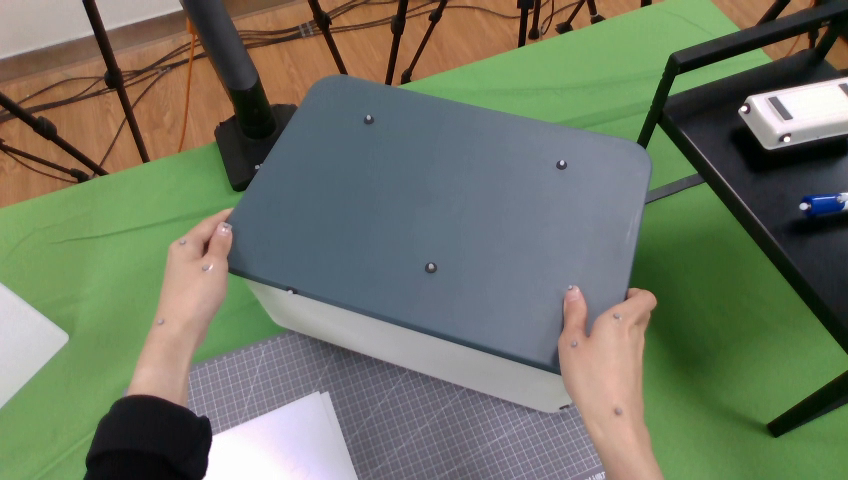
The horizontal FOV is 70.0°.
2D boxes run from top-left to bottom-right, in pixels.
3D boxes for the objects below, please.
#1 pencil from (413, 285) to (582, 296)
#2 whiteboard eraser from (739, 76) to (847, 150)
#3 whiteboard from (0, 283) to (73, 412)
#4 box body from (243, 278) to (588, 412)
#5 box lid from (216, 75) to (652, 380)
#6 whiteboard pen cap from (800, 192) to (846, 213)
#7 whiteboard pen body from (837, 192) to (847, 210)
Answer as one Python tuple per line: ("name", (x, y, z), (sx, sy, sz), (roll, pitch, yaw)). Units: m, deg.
("pencil", (0.083, 0.057, 0.699), (0.194, 0.012, 0.012), (1, 58, 6))
("whiteboard eraser", (0.364, -0.118, 0.574), (0.113, 0.042, 0.055), (-11, 60, -6))
("whiteboard", (-0.557, 0.073, 0.577), (0.142, 0.309, 0.216), (19, 59, 35))
("box body", (0.021, 0.004, 0.648), (0.363, 0.162, 0.252), (15, 59, 11))
("box lid", (0.014, -0.035, 0.579), (0.370, 0.015, 0.261), (16, 59, 11))
("whiteboard pen cap", (0.347, -0.033, 0.525), (0.033, 0.018, 0.018), (-5, 57, -8))
("whiteboard pen body", (0.405, -0.038, 0.532), (0.141, 0.017, 0.017), (-5, 58, -7))
